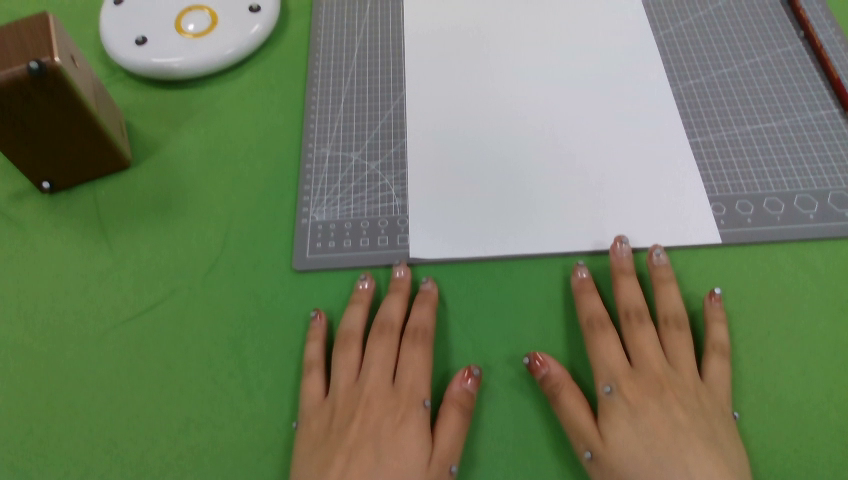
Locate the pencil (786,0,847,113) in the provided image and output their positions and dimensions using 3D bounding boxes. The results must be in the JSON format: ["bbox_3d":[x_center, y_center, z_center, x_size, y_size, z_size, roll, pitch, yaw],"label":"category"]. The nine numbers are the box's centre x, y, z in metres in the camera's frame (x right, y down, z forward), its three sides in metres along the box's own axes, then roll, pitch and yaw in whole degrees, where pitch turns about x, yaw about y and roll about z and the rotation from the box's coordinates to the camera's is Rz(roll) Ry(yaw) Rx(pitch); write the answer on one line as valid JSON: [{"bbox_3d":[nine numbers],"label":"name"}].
[{"bbox_3d":[0.321,-0.163,0.497,0.012,0.012,0.192,-4,60,1],"label":"pencil"}]

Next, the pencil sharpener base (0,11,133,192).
[{"bbox_3d":[-0.272,-0.094,0.434,0.077,0.108,0.061,-21,60,-9],"label":"pencil sharpener base"}]

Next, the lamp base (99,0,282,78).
[{"bbox_3d":[-0.220,-0.253,0.485,0.160,0.182,0.177,-31,59,-15],"label":"lamp base"}]

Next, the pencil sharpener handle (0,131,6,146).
[{"bbox_3d":[-0.320,-0.083,0.416,0.031,0.068,0.035,-21,64,-9],"label":"pencil sharpener handle"}]
